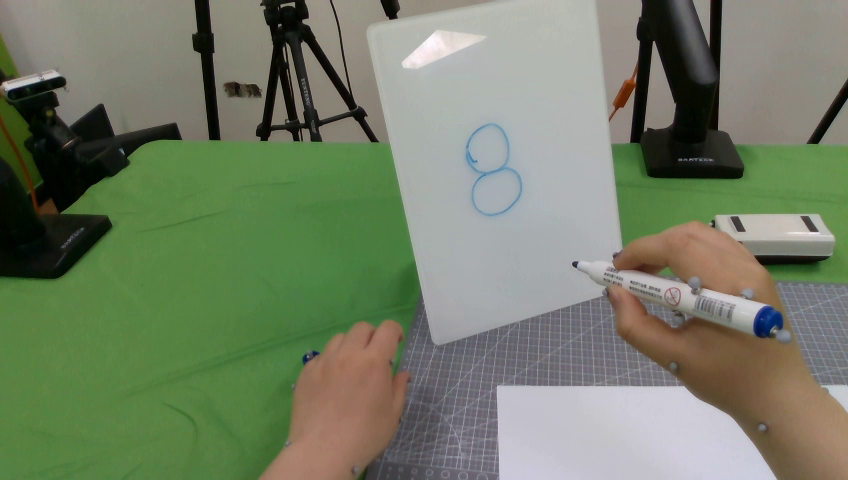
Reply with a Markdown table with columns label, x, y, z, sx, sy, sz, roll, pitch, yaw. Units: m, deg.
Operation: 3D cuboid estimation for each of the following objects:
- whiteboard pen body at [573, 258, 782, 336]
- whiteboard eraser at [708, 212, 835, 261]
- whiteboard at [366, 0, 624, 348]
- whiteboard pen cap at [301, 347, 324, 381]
| label | x | y | z | sx | sy | sz | roll | pitch | yaw |
| --- | --- | --- | --- | --- | --- | --- | --- | --- | --- |
| whiteboard pen body | 0.128 | 0.026 | 0.334 | 0.017 | 0.017 | 0.139 | -22 | 19 | -21 |
| whiteboard eraser | 0.374 | -0.004 | 0.658 | 0.112 | 0.042 | 0.055 | 1 | 39 | 8 |
| whiteboard | 0.065 | -0.080 | 0.632 | 0.217 | 0.307 | 0.143 | -15 | 17 | -11 |
| whiteboard pen cap | -0.103 | 0.116 | 0.564 | 0.018 | 0.033 | 0.018 | -2 | 38 | 2 |
